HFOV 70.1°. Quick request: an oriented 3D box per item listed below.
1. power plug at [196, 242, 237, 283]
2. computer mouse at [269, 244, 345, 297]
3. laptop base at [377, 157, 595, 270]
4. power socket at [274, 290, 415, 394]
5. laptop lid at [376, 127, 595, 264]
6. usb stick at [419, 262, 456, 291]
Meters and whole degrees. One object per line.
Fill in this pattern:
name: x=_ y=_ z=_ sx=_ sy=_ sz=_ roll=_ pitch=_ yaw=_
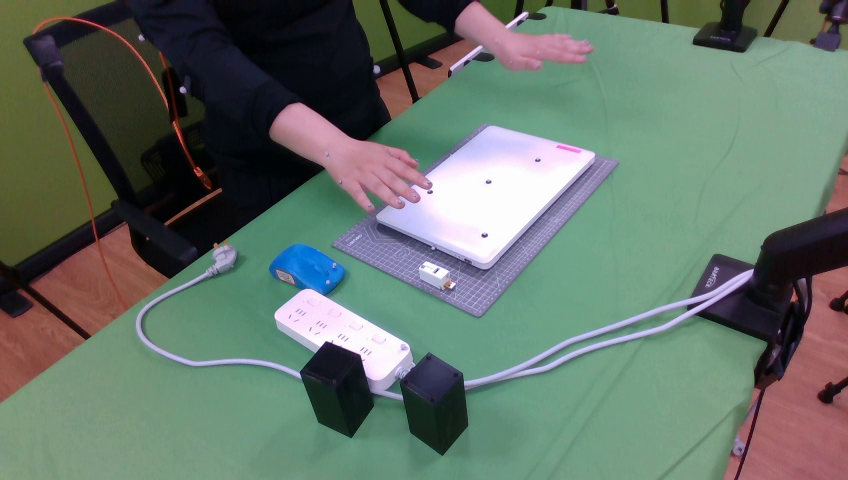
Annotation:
power plug: x=-0.336 y=0.031 z=0.968 sx=0.073 sy=0.035 sz=0.052 roll=-18 pitch=57 yaw=-27
computer mouse: x=-0.182 y=0.044 z=0.933 sx=0.116 sy=0.041 sz=0.063 roll=22 pitch=46 yaw=25
laptop base: x=0.115 y=-0.086 z=1.056 sx=0.233 sy=0.023 sz=0.355 roll=21 pitch=48 yaw=34
power socket: x=-0.114 y=0.133 z=0.820 sx=0.225 sy=0.033 sz=0.072 roll=25 pitch=48 yaw=32
laptop lid: x=0.112 y=-0.096 z=1.051 sx=0.239 sy=0.013 sz=0.358 roll=24 pitch=49 yaw=35
usb stick: x=0.022 y=0.056 z=0.892 sx=0.058 sy=0.027 sz=0.021 roll=25 pitch=45 yaw=30
